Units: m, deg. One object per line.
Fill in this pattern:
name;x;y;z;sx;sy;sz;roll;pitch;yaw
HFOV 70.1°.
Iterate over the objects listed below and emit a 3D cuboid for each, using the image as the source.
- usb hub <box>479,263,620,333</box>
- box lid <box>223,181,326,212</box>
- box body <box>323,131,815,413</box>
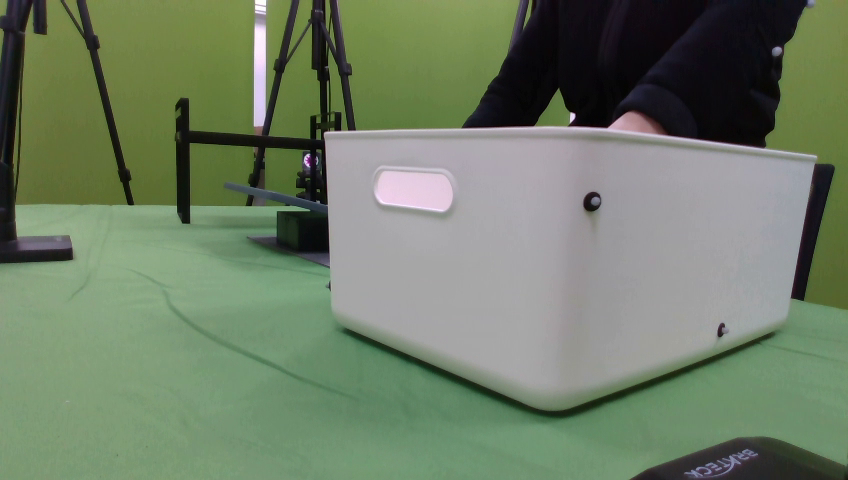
usb hub;0.110;0.047;0.525;0.126;0.025;0.049;-14;13;-32
box lid;-0.117;-0.039;0.994;0.374;0.015;0.262;13;1;-35
box body;0.125;-0.001;0.510;0.366;0.160;0.253;-4;10;-41
